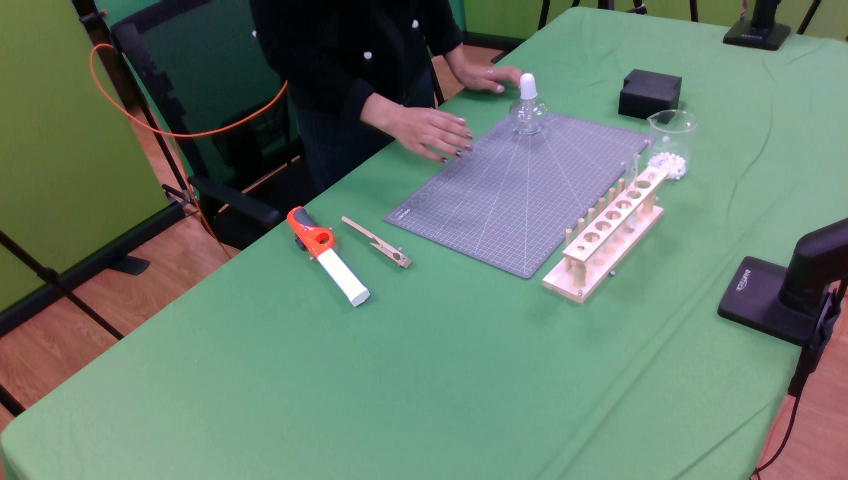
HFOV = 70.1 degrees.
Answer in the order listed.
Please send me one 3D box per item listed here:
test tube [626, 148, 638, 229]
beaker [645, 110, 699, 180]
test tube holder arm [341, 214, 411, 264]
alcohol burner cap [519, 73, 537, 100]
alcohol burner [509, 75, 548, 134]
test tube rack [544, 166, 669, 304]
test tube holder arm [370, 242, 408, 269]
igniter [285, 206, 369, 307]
[{"bbox_3d":[0.304,-0.071,0.882,0.017,0.151,0.017,-9,44,10],"label":"test tube"},{"bbox_3d":[0.417,-0.160,1.032,0.083,0.101,0.074,25,51,34],"label":"beaker"},{"bbox_3d":[-0.082,-0.003,0.999,0.177,0.015,0.013,34,87,40],"label":"test tube holder arm"},{"bbox_3d":[0.198,-0.298,1.163,0.034,0.048,0.033,-10,38,8],"label":"alcohol burner cap"},{"bbox_3d":[0.204,-0.270,1.186,0.078,0.119,0.077,-5,42,5],"label":"alcohol burner"},{"bbox_3d":[0.274,-0.018,0.903,0.066,0.085,0.243,26,51,35],"label":"test tube rack"},{"bbox_3d":[-0.057,0.021,0.971,0.087,0.015,0.010,35,88,40],"label":"test tube holder arm"},{"bbox_3d":[-0.166,0.018,0.986,0.057,0.025,0.274,-34,45,-13],"label":"igniter"}]
